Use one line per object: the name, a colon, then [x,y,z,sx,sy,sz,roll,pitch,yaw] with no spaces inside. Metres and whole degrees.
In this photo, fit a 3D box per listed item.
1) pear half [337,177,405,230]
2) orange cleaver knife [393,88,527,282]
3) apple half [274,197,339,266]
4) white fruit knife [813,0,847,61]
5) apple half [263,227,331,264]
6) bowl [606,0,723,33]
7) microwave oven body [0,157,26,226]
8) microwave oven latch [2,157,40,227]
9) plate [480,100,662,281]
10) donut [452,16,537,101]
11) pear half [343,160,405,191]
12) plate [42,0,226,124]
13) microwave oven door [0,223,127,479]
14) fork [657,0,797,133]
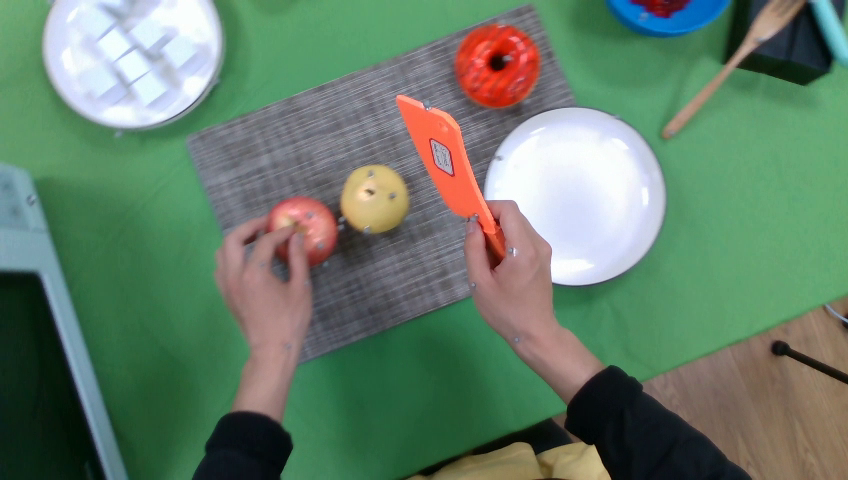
pear half: [-0.062,-0.040,0.667,0.076,0.110,0.056,7,86,5]
orange cleaver knife: [0.035,-0.042,0.534,0.012,0.076,0.213,-45,128,-19]
apple half: [-0.138,-0.016,0.683,0.053,0.074,0.081,32,93,3]
white fruit knife: [0.438,-0.297,0.681,0.027,0.016,0.207,-18,85,-30]
apple half: [-0.137,0.011,0.681,0.081,0.081,0.032,-14,84,-1]
bowl: [0.267,-0.304,0.698,0.151,0.077,0.151,0,88,0]
microwave oven body: [-0.548,0.158,0.581,0.326,0.260,0.441,-19,88,-2]
microwave oven latch: [-0.465,-0.052,0.686,0.030,0.029,0.079,-18,88,-1]
plate: [0.168,-0.056,0.704,0.209,0.038,0.209,0,88,0]
donut: [0.082,-0.211,0.706,0.099,0.048,0.099,0,89,2]
pear half: [-0.055,-0.075,0.678,0.070,0.088,0.031,7,87,5]
plate: [-0.334,-0.236,0.713,0.208,0.039,0.207,0,88,0]
microwave oven door: [-0.396,0.151,0.577,0.039,0.244,0.355,-19,87,-1]
fork: [0.344,-0.204,0.690,0.028,0.018,0.207,38,108,-6]
